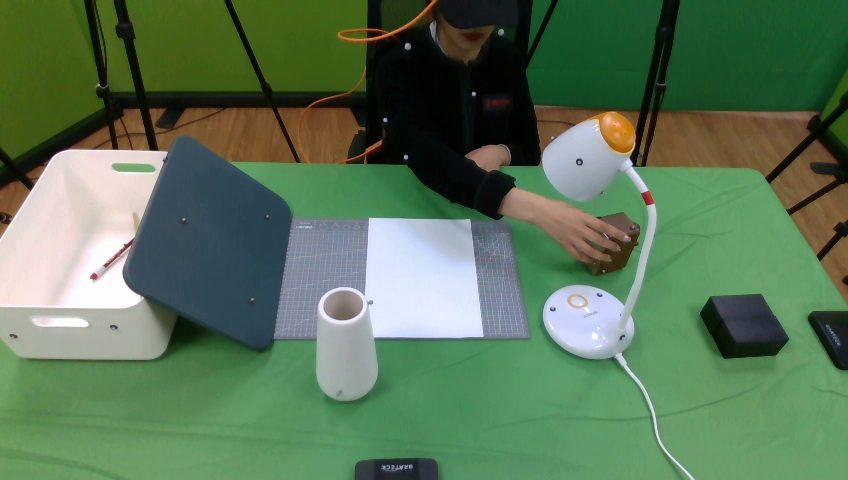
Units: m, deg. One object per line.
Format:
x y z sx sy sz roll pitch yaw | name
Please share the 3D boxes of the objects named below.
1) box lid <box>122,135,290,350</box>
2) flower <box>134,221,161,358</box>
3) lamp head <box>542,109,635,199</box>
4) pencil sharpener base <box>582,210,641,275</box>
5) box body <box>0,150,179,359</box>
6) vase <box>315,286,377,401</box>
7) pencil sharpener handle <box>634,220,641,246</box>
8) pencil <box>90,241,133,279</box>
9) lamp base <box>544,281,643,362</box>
-0.355 -0.006 1.059 0.015 0.265 0.369 -33 39 27 | box lid
-0.508 0.071 1.093 0.044 0.038 0.359 -41 45 8 | flower
0.253 -0.131 0.893 0.113 0.123 0.112 10 66 -24 | lamp head
0.357 0.005 1.156 0.077 0.107 0.061 -13 47 -17 | pencil sharpener base
-0.541 0.020 1.041 0.254 0.161 0.361 1 46 -3 | box body
-0.119 0.159 0.911 0.098 0.201 0.097 2 47 -2 | vase
0.406 -0.014 1.161 0.031 0.068 0.035 -13 43 -17 | pencil sharpener handle
-0.551 0.006 1.145 0.012 0.012 0.193 23 51 17 | pencil
0.304 0.095 1.014 0.161 0.181 0.178 -24 54 -24 | lamp base
